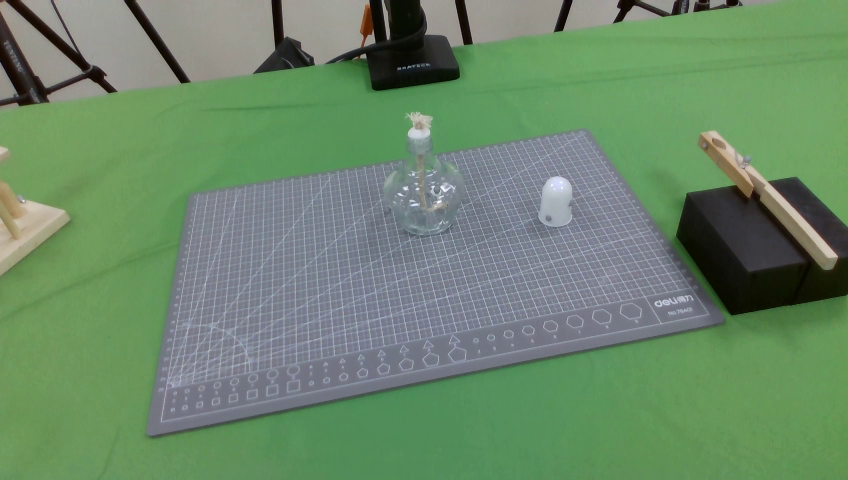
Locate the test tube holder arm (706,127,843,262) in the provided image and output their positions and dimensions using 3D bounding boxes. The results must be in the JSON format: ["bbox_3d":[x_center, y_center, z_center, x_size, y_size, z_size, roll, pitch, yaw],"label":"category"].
[{"bbox_3d":[0.287,-0.045,0.511,0.013,0.015,0.176,-21,43,0],"label":"test tube holder arm"}]

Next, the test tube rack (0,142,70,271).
[{"bbox_3d":[-0.455,0.013,0.546,0.066,0.086,0.241,14,46,20],"label":"test tube rack"}]

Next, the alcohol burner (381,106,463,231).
[{"bbox_3d":[-0.003,-0.068,0.561,0.078,0.120,0.077,-4,41,3],"label":"alcohol burner"}]

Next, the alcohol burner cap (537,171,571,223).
[{"bbox_3d":[0.124,-0.042,0.573,0.034,0.048,0.033,-3,42,3],"label":"alcohol burner cap"}]

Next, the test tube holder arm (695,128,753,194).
[{"bbox_3d":[0.271,-0.072,0.543,0.010,0.015,0.087,-20,43,1],"label":"test tube holder arm"}]
